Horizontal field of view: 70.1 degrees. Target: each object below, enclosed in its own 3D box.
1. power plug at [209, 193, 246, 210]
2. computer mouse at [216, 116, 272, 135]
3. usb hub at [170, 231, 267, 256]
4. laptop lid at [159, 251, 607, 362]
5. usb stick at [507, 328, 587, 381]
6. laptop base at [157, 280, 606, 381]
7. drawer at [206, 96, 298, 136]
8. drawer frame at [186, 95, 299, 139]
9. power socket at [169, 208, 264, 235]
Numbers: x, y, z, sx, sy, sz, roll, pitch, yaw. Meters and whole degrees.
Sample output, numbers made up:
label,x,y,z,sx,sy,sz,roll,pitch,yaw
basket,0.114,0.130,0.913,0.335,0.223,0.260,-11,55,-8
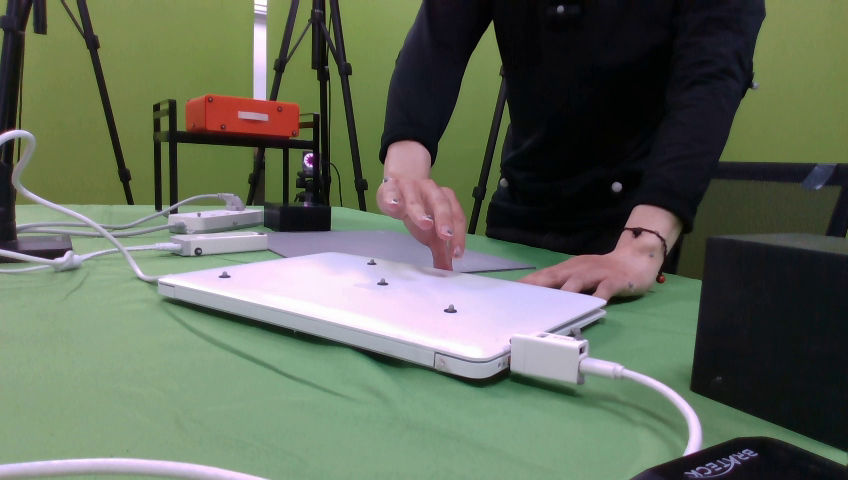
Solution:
label,x,y,z,sx,sy,sz,roll,pitch,yaw
power plug,-0.388,-0.067,1.205,0.072,0.052,0.035,3,8,26
computer mouse,-0.402,-0.258,1.353,0.118,0.041,0.062,-6,15,-34
usb hub,-0.290,0.004,0.862,0.049,0.025,0.126,10,11,42
laptop lid,-0.040,0.043,0.554,0.355,0.013,0.243,8,9,36
usb stick,0.072,0.071,0.383,0.059,0.027,0.021,0,3,34
laptop base,-0.042,0.058,0.554,0.352,0.023,0.237,8,7,35
drawer,-0.414,-0.276,1.376,0.195,0.073,0.210,-3,9,-31
drawer frame,-0.417,-0.277,1.378,0.203,0.082,0.212,-3,8,-32
power socket,-0.381,-0.038,1.128,0.072,0.032,0.227,4,8,16
